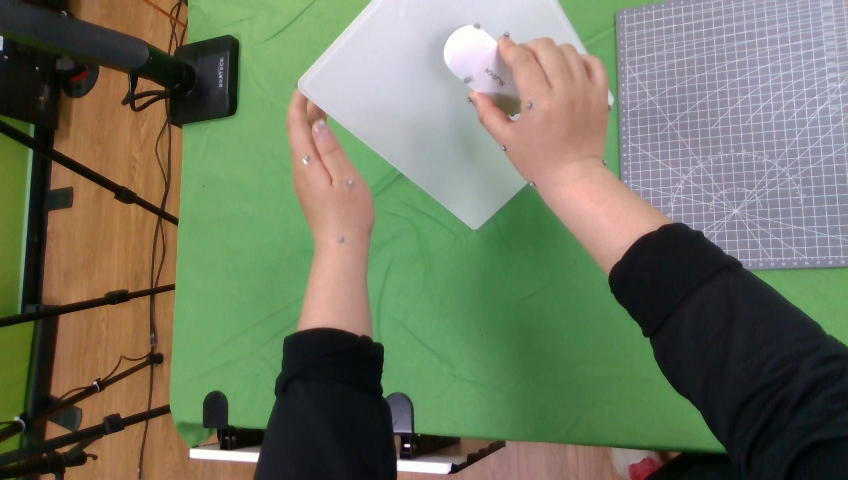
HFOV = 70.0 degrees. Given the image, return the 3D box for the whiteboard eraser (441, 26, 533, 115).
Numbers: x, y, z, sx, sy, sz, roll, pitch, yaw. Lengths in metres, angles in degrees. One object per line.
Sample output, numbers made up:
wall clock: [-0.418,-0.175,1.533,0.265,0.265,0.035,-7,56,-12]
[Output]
whiteboard eraser: [0.054,-0.142,0.512,0.041,0.102,0.018,-48,43,16]

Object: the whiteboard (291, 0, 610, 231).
whiteboard: [0.022,-0.184,0.630,0.217,0.309,0.142,-43,50,12]
